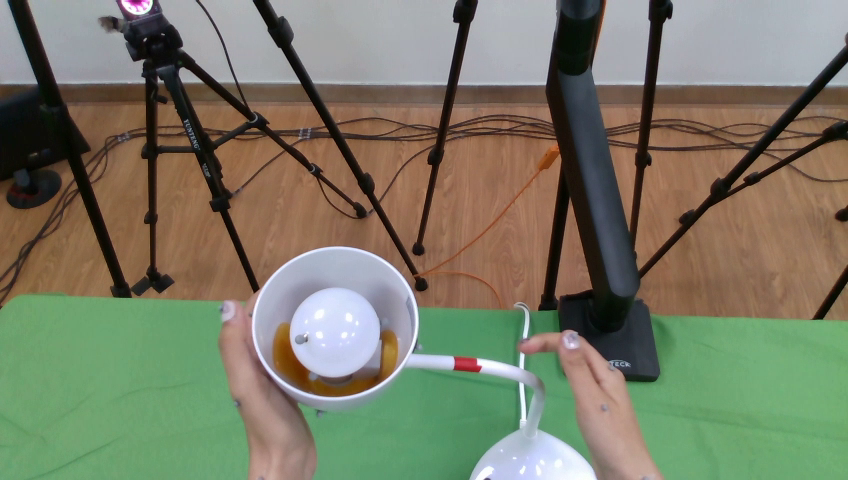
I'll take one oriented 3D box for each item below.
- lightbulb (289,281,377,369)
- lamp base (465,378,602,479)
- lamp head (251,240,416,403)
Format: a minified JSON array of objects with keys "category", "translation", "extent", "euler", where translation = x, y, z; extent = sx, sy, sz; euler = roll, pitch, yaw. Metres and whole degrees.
[{"category":"lightbulb","translation":[-0.065,0.067,0.434],"extent":[0.059,0.108,0.059],"euler":[3,68,-7]},{"category":"lamp base","translation":[0.118,0.234,0.631],"extent":[0.161,0.182,0.177],"euler":[-10,51,-4]},{"category":"lamp head","translation":[-0.062,0.074,0.458],"extent":[0.112,0.124,0.111],"euler":[1,62,-1]}]
